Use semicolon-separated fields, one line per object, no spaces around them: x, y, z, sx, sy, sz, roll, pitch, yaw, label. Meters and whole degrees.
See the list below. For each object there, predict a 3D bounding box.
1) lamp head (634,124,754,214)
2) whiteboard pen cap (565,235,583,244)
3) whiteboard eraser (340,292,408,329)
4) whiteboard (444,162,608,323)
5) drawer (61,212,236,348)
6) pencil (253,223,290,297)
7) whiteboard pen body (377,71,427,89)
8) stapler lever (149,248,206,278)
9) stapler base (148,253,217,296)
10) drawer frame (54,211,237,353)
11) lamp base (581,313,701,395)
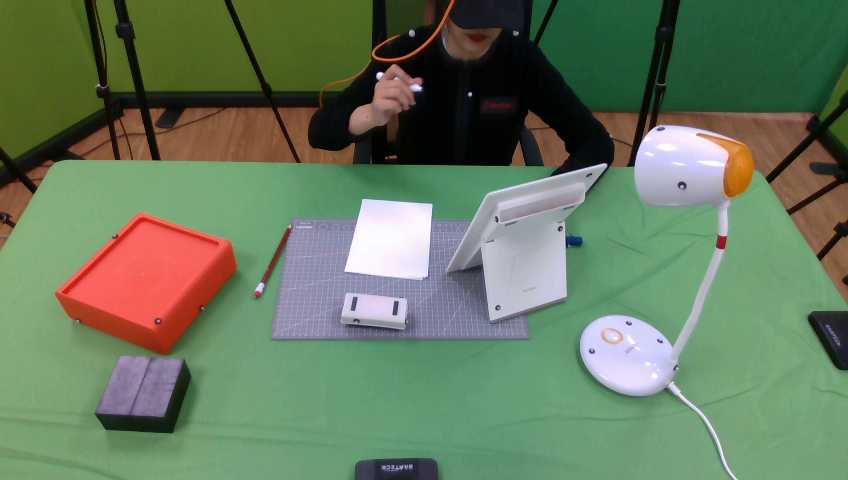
0.351;-0.089;0.775;0.112;0.113;0.122;-30;30;-28;lamp head
0.303;0.000;1.221;0.033;0.018;0.018;3;46;-2;whiteboard pen cap
-0.087;0.125;1.052;0.113;0.042;0.055;5;45;1;whiteboard eraser
0.186;0.026;1.028;0.217;0.306;0.143;-14;68;-18;whiteboard
-0.473;0.064;1.060;0.194;0.073;0.211;18;48;11;drawer
-0.286;0.033;1.150;0.012;0.012;0.193;9;46;4;pencil
-0.043;-0.309;1.175;0.017;0.017;0.140;-33;42;-30;whiteboard pen body
-0.443;0.037;1.084;0.118;0.040;0.027;19;49;17;stapler lever
-0.443;0.059;1.109;0.130;0.024;0.041;24;51;11;stapler base
-0.473;0.067;1.055;0.201;0.083;0.212;17;48;11;drawer frame
0.361;0.144;0.972;0.178;0.181;0.160;34;53;23;lamp base
